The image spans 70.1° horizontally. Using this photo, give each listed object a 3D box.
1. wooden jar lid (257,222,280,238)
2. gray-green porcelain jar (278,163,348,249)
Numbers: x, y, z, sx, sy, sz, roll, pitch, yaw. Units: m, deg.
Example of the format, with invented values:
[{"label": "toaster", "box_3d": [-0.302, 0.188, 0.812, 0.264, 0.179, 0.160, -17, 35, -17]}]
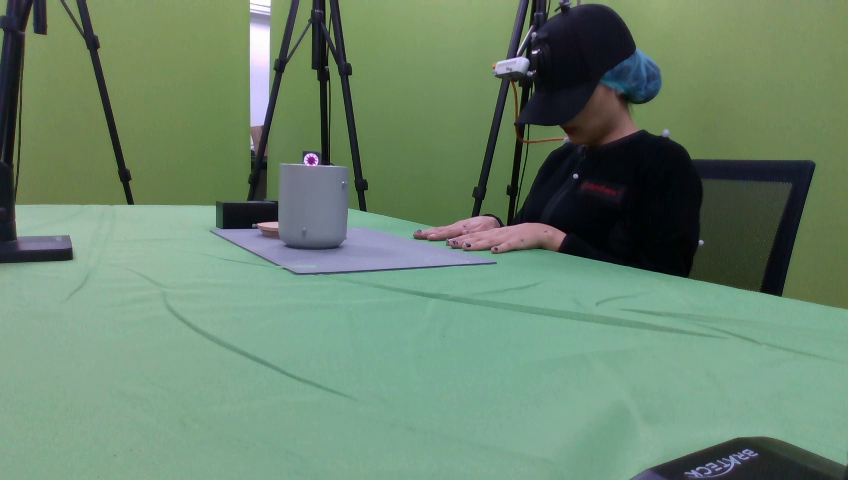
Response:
[{"label": "wooden jar lid", "box_3d": [-0.234, -0.017, 1.053, 0.108, 0.020, 0.108, 2, 9, 0]}, {"label": "gray-green porcelain jar", "box_3d": [-0.171, -0.053, 0.934, 0.106, 0.126, 0.106, 2, 7, 0]}]
